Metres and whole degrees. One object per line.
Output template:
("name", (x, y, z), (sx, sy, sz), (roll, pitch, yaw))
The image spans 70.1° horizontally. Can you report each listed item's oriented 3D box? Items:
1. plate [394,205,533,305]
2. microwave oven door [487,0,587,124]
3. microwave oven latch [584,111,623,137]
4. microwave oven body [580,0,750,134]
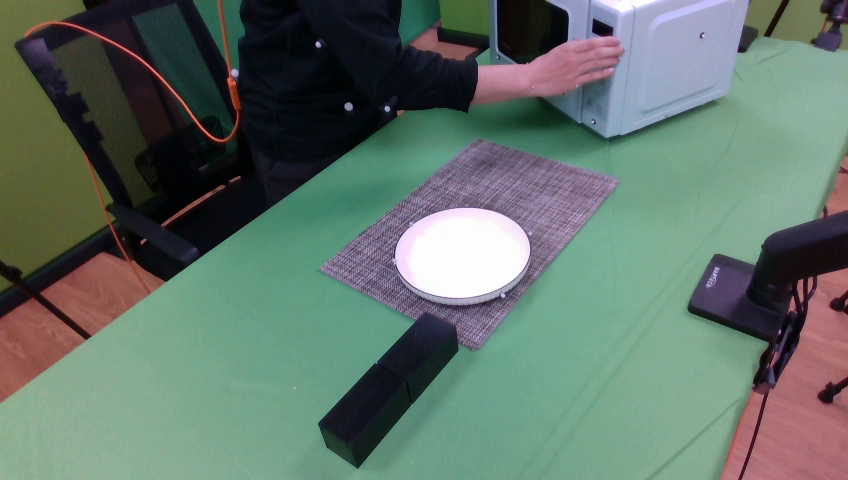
("plate", (0.060, 0.025, 0.915), (0.207, 0.039, 0.206), (-4, 41, 4))
("microwave oven door", (0.229, -0.419, 1.230), (0.039, 0.245, 0.352), (-21, 42, -15))
("microwave oven latch", (0.337, -0.222, 1.142), (0.030, 0.029, 0.078), (-21, 42, -14))
("microwave oven body", (0.382, -0.445, 1.246), (0.327, 0.261, 0.437), (-22, 42, -16))
